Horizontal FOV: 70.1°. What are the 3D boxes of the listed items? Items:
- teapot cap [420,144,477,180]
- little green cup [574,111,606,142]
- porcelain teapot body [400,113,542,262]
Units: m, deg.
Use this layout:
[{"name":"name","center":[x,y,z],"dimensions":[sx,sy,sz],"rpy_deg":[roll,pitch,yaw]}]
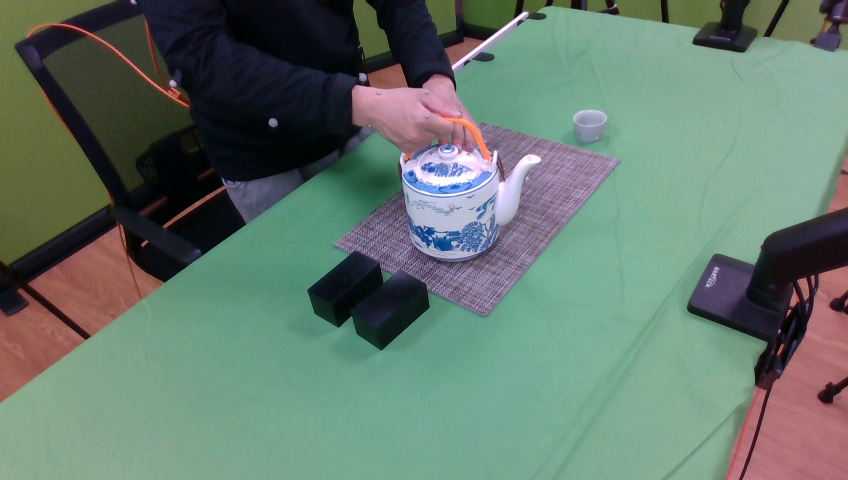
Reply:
[{"name":"teapot cap","center":[0.035,-0.114,0.874],"dimensions":[0.085,0.044,0.085],"rpy_deg":[-2,43,2]},{"name":"little green cup","center":[0.318,-0.217,1.164],"dimensions":[0.061,0.039,0.061],"rpy_deg":[-3,41,3]},{"name":"porcelain teapot body","center":[0.069,-0.086,0.897],"dimensions":[0.205,0.226,0.144],"rpy_deg":[-1,41,6]}]
